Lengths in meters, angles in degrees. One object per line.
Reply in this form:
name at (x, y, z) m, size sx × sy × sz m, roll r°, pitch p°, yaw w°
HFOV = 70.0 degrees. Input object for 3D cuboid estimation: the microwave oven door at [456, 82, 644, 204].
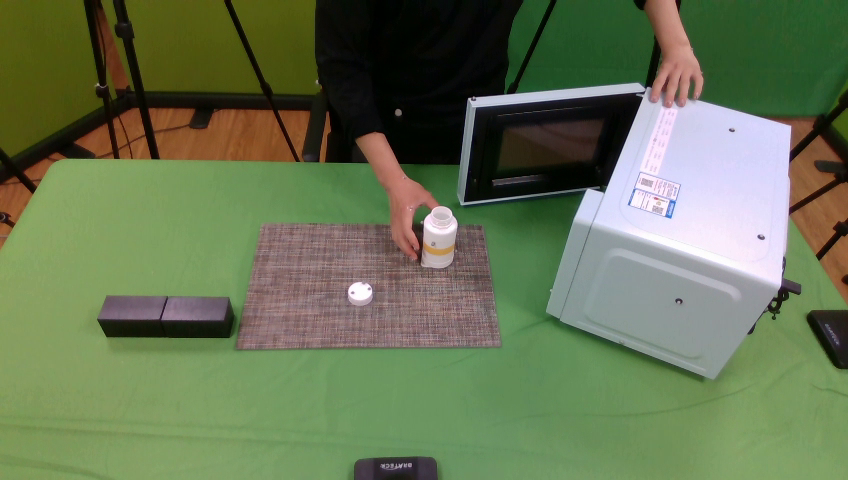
microwave oven door at (0.249, -0.193, 1.225) m, size 0.356 × 0.245 × 0.039 m, roll -8°, pitch 47°, yaw -11°

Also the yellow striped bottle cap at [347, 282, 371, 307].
yellow striped bottle cap at (-0.117, 0.098, 1.093) m, size 0.044 × 0.019 × 0.044 m, roll 3°, pitch 46°, yaw -3°

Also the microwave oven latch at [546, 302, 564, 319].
microwave oven latch at (0.242, 0.102, 1.081) m, size 0.030 × 0.029 × 0.079 m, roll 21°, pitch 48°, yaw 17°

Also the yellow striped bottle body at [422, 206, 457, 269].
yellow striped bottle body at (0.029, -0.008, 1.131) m, size 0.063 × 0.121 × 0.062 m, roll 2°, pitch 46°, yaw -2°

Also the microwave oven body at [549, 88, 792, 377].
microwave oven body at (0.455, -0.028, 1.088) m, size 0.325 × 0.261 × 0.440 m, roll 20°, pitch 47°, yaw 16°
